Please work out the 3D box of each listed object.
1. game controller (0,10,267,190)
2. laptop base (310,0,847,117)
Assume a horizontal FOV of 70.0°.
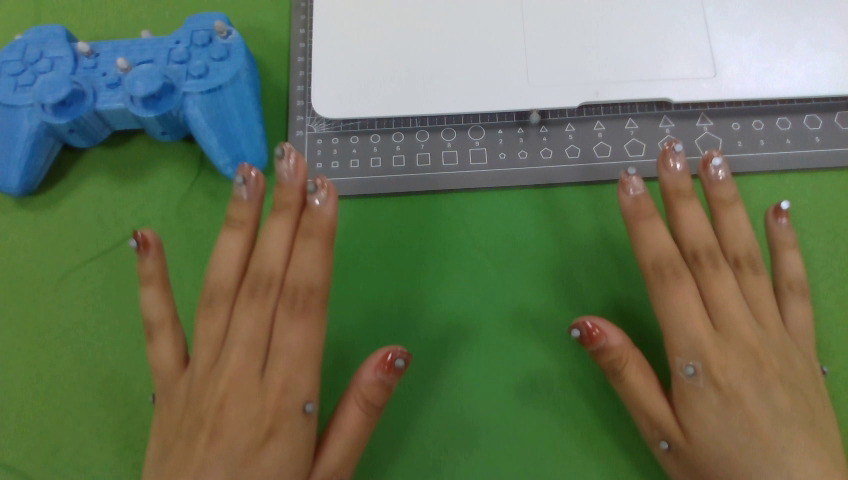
[{"bbox_3d":[-0.167,-0.082,0.337,0.155,0.052,0.096,-3,67,0],"label":"game controller"},{"bbox_3d":[0.108,-0.185,0.376,0.354,0.023,0.234,-2,75,1],"label":"laptop base"}]
